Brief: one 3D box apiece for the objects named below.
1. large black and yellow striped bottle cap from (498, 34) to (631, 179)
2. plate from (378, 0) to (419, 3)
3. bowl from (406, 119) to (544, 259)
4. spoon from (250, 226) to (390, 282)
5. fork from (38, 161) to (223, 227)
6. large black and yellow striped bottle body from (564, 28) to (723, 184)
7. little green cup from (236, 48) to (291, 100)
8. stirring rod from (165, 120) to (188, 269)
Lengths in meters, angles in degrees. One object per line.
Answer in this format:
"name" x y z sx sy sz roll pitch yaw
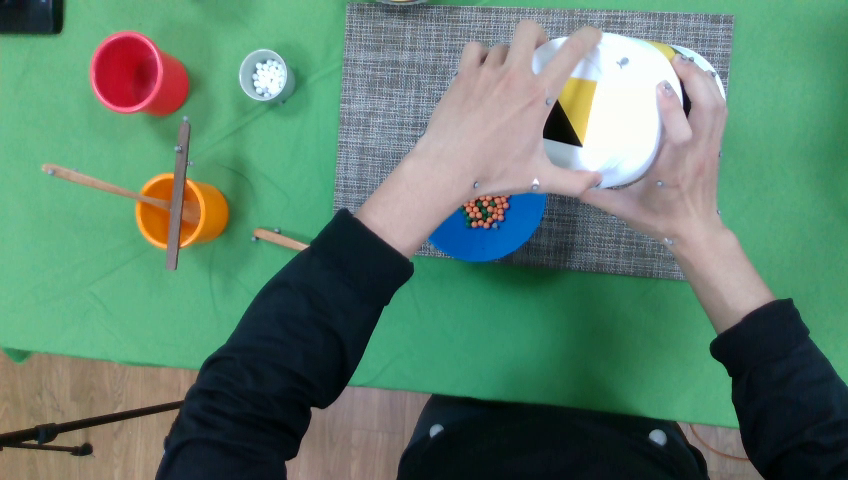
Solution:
"large black and yellow striped bottle cap" 0.110 -0.107 0.490 0.114 0.019 0.115 8 103 42
"plate" -0.025 -0.382 0.713 0.209 0.038 0.209 0 94 9
"bowl" 0.060 -0.056 0.694 0.151 0.077 0.151 0 93 9
"spoon" -0.133 0.011 0.760 0.193 0.021 0.042 16 109 7
"fork" -0.344 -0.055 0.726 0.209 0.018 0.028 19 100 -36
"large black and yellow striped bottle body" 0.173 -0.119 0.550 0.129 0.185 0.131 13 108 44
"little green cup" -0.195 -0.202 0.749 0.061 0.038 0.061 1 93 10
"stirring rod" -0.292 -0.053 0.715 0.014 0.006 0.176 7 95 7
